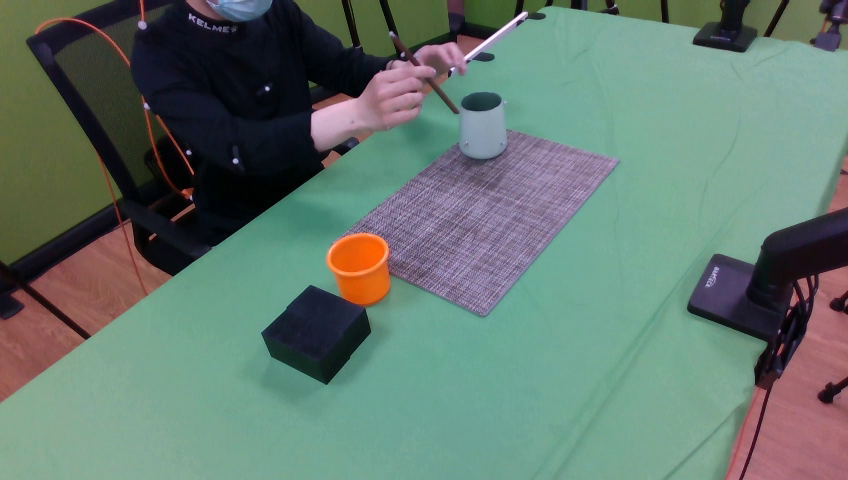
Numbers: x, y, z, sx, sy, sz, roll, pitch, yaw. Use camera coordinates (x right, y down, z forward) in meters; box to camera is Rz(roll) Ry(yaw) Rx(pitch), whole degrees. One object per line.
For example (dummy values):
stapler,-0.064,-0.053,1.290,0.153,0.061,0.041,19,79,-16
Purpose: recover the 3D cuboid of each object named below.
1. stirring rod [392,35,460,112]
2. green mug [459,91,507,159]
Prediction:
stirring rod,0.006,-0.265,0.971,0.014,0.178,0.006,15,69,48
green mug,0.117,-0.225,1.144,0.092,0.105,0.125,14,45,24
